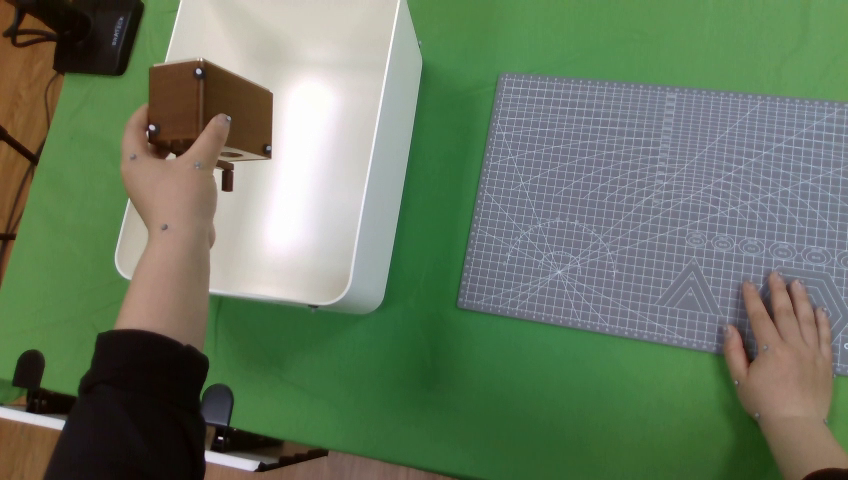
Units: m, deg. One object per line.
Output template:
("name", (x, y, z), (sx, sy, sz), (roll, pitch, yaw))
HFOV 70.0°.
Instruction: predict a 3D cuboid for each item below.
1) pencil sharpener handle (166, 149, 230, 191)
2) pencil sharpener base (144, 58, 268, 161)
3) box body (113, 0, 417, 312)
("pencil sharpener handle", (-0.202, -0.063, 0.550), (0.036, 0.068, 0.030), (-1, 88, 26))
("pencil sharpener base", (-0.199, -0.113, 0.564), (0.061, 0.107, 0.076), (-1, 88, 21))
("box body", (-0.159, -0.107, 0.696), (0.253, 0.161, 0.362), (6, 79, 11))
